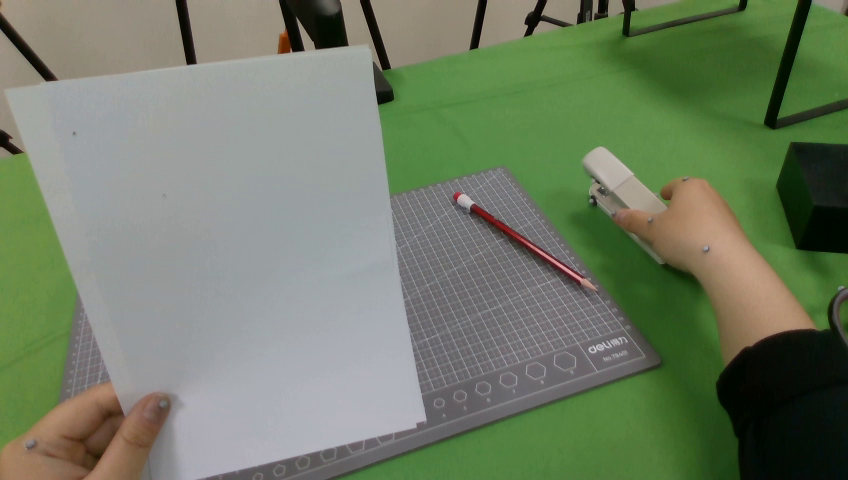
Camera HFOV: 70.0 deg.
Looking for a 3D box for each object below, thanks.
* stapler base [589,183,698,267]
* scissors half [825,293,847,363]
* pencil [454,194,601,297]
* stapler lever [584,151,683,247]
[{"bbox_3d":[0.197,-0.028,0.568,0.041,0.025,0.129,-38,40,7],"label":"stapler base"},{"bbox_3d":[0.345,0.018,0.477,0.040,0.013,0.174,11,65,27],"label":"scissors half"},{"bbox_3d":[0.091,0.002,0.570,0.012,0.012,0.192,-29,45,-25],"label":"pencil"},{"bbox_3d":[0.186,-0.042,0.551,0.027,0.040,0.116,-38,39,7],"label":"stapler lever"}]
